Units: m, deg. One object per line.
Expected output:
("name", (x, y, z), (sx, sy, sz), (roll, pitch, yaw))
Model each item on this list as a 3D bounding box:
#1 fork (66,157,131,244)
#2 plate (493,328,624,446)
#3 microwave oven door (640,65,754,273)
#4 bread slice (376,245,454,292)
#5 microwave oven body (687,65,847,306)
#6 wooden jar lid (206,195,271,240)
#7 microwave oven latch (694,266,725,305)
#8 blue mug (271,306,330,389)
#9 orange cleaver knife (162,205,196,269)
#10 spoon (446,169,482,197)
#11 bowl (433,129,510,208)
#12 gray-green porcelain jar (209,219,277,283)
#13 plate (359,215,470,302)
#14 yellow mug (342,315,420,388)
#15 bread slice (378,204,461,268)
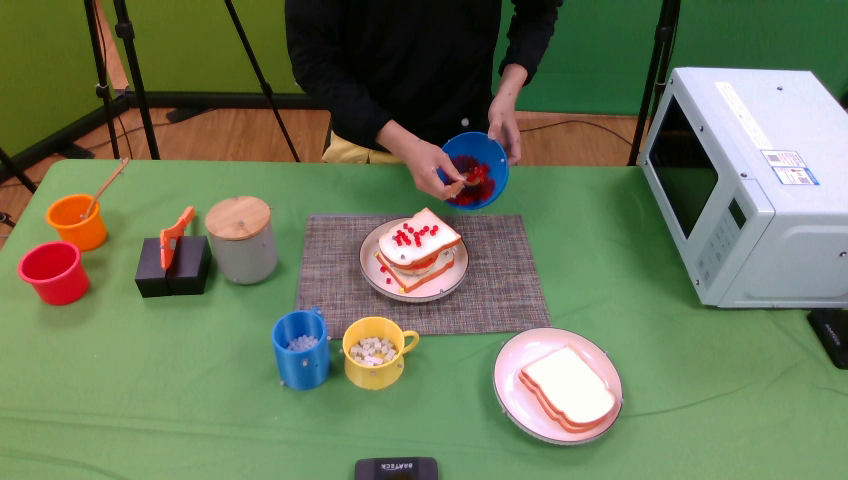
("fork", (-0.608, -0.074, 1.132), (0.207, 0.019, 0.028), (-52, 48, 10))
("plate", (0.213, 0.236, 0.974), (0.208, 0.039, 0.206), (2, 46, -2))
("microwave oven door", (0.523, -0.147, 1.193), (0.039, 0.245, 0.353), (0, 47, -3))
("bread slice", (-0.010, 0.033, 1.149), (0.131, 0.019, 0.104), (-27, 55, -25))
("microwave oven body", (0.669, -0.111, 1.176), (0.326, 0.261, 0.439), (0, 46, -3))
("wooden jar lid", (-0.319, -0.036, 1.046), (0.108, 0.021, 0.107), (1, 44, 0))
("microwave oven latch", (0.523, 0.082, 1.115), (0.030, 0.029, 0.078), (3, 46, 0))
("blue mug", (-0.188, 0.163, 0.969), (0.082, 0.106, 0.116), (15, 47, 10))
("orange cleaver knife", (-0.454, -0.010, 1.129), (0.012, 0.077, 0.210), (-2, 20, -5))
("spoon", (0.069, -0.104, 1.094), (0.041, 0.022, 0.193), (19, 19, 12))
("bowl", (0.100, -0.127, 1.156), (0.151, 0.077, 0.151), (-4, 81, 24))
("gray-green porcelain jar", (-0.323, 0.007, 1.092), (0.106, 0.127, 0.105), (2, 46, -2))
("plate", (-0.019, 0.038, 1.140), (0.209, 0.038, 0.208), (2, 46, -2))
("yellow mug", (-0.068, 0.177, 0.990), (0.131, 0.064, 0.099), (-15, 50, -19))
("bread slice", (-0.014, -0.003, 1.097), (0.134, 0.018, 0.106), (-35, 51, -22))
